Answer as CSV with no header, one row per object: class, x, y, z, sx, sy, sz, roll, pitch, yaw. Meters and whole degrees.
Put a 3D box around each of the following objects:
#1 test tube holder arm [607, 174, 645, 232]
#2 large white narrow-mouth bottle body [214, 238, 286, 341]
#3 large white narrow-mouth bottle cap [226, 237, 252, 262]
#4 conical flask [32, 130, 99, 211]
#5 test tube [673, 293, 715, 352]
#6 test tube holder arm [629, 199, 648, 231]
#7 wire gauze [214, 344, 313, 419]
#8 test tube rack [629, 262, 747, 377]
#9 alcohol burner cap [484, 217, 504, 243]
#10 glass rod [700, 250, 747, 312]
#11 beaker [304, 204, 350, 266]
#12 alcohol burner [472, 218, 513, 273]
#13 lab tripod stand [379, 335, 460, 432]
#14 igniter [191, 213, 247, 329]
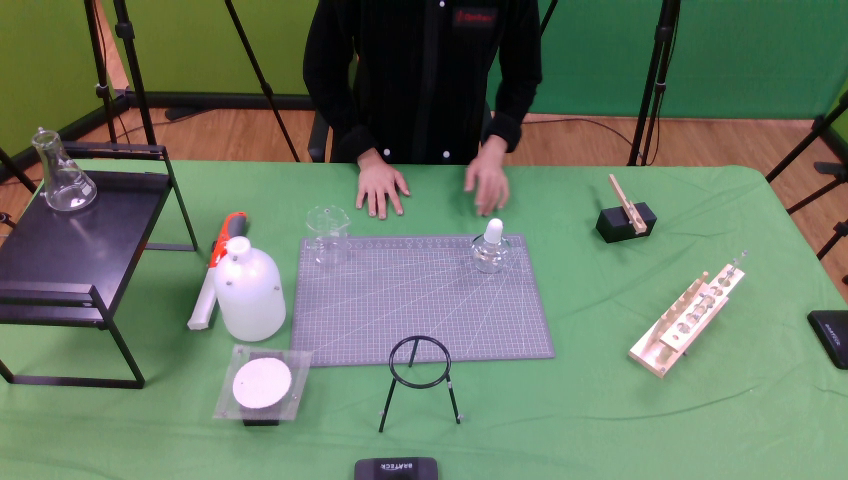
test tube holder arm,0.411,-0.080,1.238,0.013,0.015,0.177,1,42,-13
large white narrow-mouth bottle body,-0.285,0.073,0.986,0.102,0.195,0.101,2,46,-2
large white narrow-mouth bottle cap,-0.282,0.014,0.923,0.038,0.024,0.037,2,46,-2
conical flask,-0.565,-0.111,0.944,0.075,0.122,0.075,2,46,-2
test tube,0.429,0.137,0.979,0.017,0.151,0.017,5,46,-5
test tube holder arm,0.423,-0.050,1.206,0.010,0.015,0.087,1,41,-12
wire gauze,-0.241,0.213,0.916,0.121,0.011,0.124,5,46,1
test tube rack,0.464,0.126,1.061,0.242,0.085,0.066,-34,56,-31
alcohol burner cap,0.130,-0.021,1.107,0.034,0.048,0.033,6,46,-6
glass rod,0.500,0.075,1.021,0.008,0.201,0.008,0,55,1
beaker,-0.178,-0.006,1.132,0.084,0.101,0.073,4,46,-1
alcohol burner,0.128,0.005,1.132,0.078,0.120,0.077,0,47,0
lab tripod stand,-0.011,0.214,0.911,0.148,0.132,0.147,1,45,0
igniter,-0.376,0.047,1.121,0.057,0.025,0.275,-4,46,6
